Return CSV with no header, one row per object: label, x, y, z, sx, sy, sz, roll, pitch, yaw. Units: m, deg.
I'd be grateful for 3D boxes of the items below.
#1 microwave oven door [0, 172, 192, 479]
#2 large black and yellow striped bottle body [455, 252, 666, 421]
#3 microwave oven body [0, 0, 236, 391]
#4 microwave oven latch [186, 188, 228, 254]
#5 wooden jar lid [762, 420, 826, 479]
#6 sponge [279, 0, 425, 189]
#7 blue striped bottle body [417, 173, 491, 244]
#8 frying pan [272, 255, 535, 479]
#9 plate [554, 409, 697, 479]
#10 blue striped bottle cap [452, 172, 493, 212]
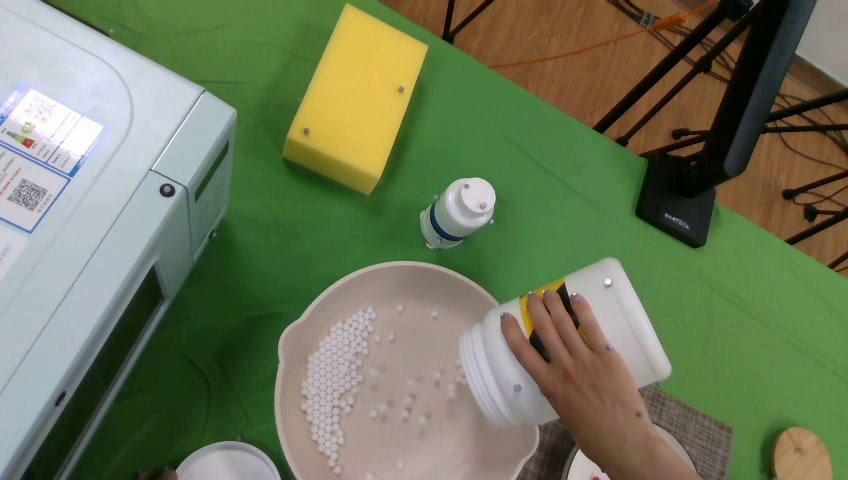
microwave oven door,-0.292,0.132,0.478,0.039,0.244,0.354,27,67,-10
large black and yellow striped bottle body,0.137,0.106,0.629,0.184,0.131,0.130,-26,83,16
microwave oven body,-0.405,0.030,0.471,0.327,0.260,0.439,28,68,-11
microwave oven latch,-0.242,-0.026,0.653,0.030,0.029,0.079,30,67,-10
wooden jar lid,0.532,0.316,0.874,0.109,0.021,0.108,5,74,-18
sponge,-0.088,-0.184,0.762,0.119,0.061,0.205,23,69,-13
blue striped bottle body,0.039,-0.040,0.736,0.063,0.121,0.062,6,73,-18
frying pan,-0.054,0.249,0.627,0.308,0.103,0.484,26,60,-9
plate,0.249,0.318,0.754,0.210,0.038,0.208,6,73,-18
blue striped bottle cap,0.056,-0.055,0.690,0.045,0.020,0.044,5,74,-18
